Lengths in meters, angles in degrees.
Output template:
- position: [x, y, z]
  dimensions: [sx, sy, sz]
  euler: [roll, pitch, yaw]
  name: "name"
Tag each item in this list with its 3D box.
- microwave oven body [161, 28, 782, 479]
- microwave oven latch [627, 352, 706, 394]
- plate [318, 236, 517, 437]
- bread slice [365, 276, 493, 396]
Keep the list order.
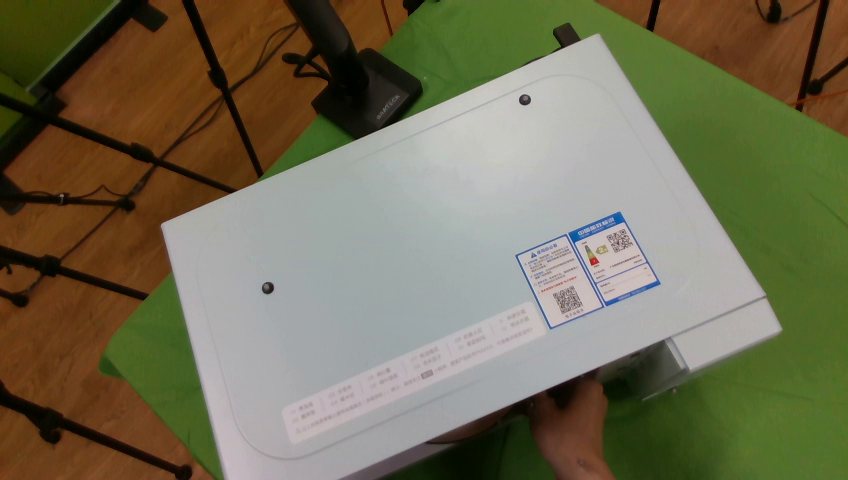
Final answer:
- position: [0.029, 0.051, 0.616]
  dimensions: [0.442, 0.262, 0.323]
  euler: [-24, 69, 1]
  name: "microwave oven body"
- position: [0.261, 0.138, 0.651]
  dimensions: [0.079, 0.030, 0.030]
  euler: [-22, 69, 2]
  name: "microwave oven latch"
- position: [-0.007, 0.101, 0.645]
  dimensions: [0.207, 0.039, 0.206]
  euler: [-1, 78, 4]
  name: "plate"
- position: [0.001, 0.099, 0.660]
  dimensions: [0.132, 0.019, 0.104]
  euler: [22, 76, -5]
  name: "bread slice"
